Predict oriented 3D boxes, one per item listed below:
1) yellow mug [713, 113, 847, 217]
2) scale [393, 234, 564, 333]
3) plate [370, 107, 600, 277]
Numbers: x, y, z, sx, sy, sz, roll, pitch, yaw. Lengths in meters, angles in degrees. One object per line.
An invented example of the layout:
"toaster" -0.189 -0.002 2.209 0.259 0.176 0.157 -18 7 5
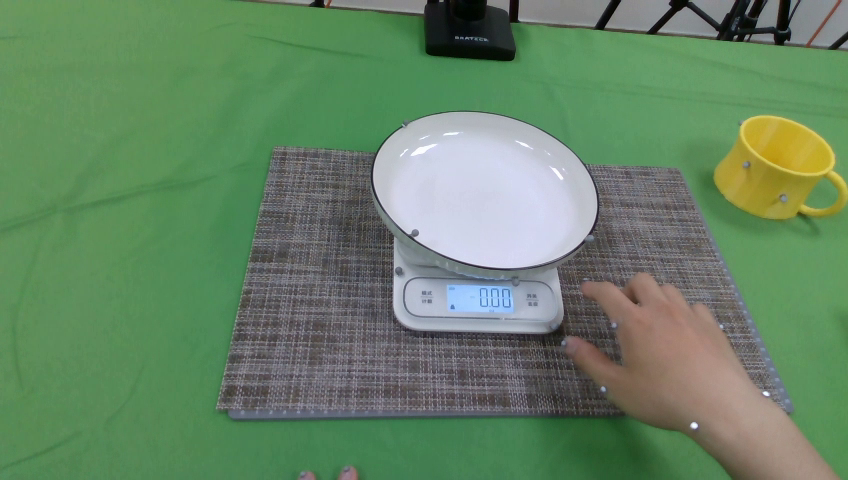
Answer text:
"yellow mug" 0.391 -0.074 0.654 0.130 0.064 0.100 39 55 23
"scale" 0.046 -0.006 0.564 0.149 0.032 0.199 3 49 -5
"plate" 0.054 -0.045 0.556 0.209 0.038 0.207 4 49 -5
